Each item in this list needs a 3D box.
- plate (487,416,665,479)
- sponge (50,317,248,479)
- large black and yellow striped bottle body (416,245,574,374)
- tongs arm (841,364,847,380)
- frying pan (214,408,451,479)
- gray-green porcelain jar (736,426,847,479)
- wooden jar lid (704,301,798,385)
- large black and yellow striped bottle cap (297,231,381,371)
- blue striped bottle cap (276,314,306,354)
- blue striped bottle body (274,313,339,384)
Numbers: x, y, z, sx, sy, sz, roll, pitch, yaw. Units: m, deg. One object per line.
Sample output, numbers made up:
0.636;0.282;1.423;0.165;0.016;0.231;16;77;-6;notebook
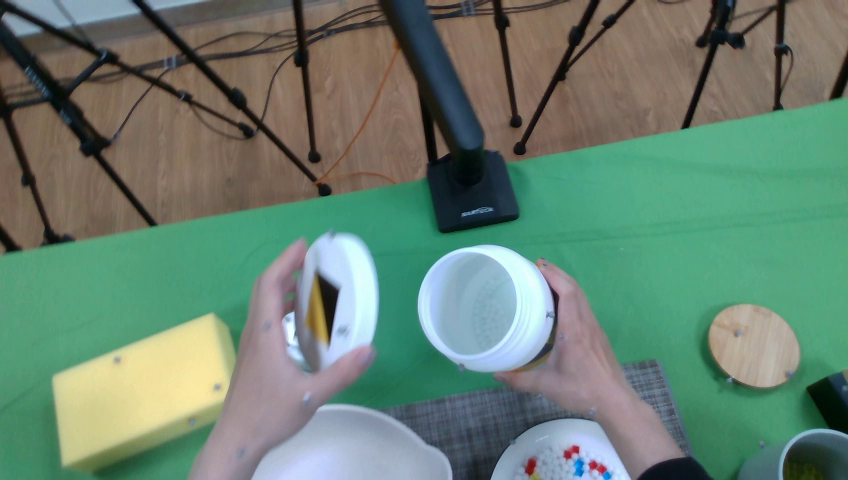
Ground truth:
0.169;0.303;0.670;0.209;0.038;0.207;-2;63;4;plate
-0.340;0.196;0.753;0.207;0.061;0.117;-23;64;-8;sponge
0.080;0.078;0.657;0.130;0.185;0.130;-6;76;25;large black and yellow striped bottle body
0.540;0.306;0.615;0.051;0.026;0.382;-15;73;-5;tongs arm
-0.046;0.401;0.599;0.307;0.104;0.482;-32;57;-11;frying pan
0.396;0.258;0.631;0.106;0.127;0.105;-2;62;4;gray-green porcelain jar
0.406;0.129;0.757;0.108;0.021;0.107;-2;64;4;wooden jar lid
-0.073;0.050;0.497;0.019;0.115;0.114;5;55;-36;large black and yellow striped bottle cap
-0.145;0.107;0.693;0.044;0.021;0.044;-3;60;5;blue striped bottle cap
-0.142;0.130;0.738;0.063;0.122;0.062;-2;62;4;blue striped bottle body
